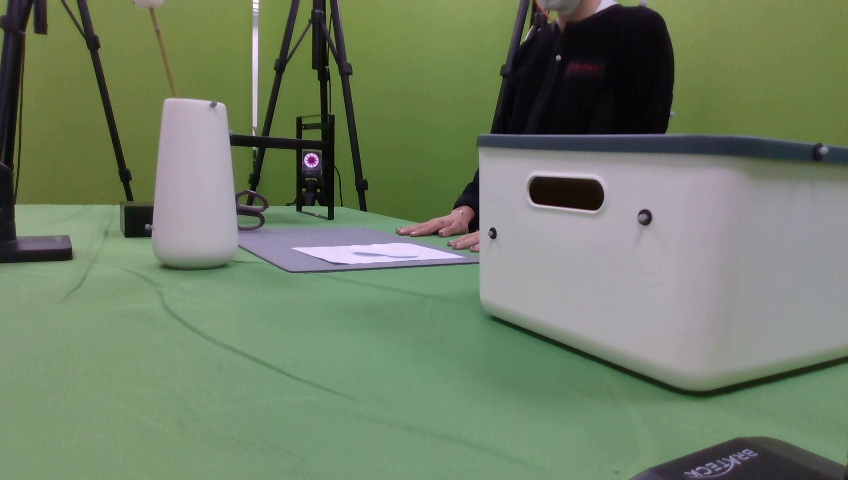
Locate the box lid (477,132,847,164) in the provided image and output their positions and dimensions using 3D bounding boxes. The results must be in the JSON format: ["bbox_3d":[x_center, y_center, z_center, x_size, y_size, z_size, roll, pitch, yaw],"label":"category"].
[{"bbox_3d":[0.257,-0.072,0.531,0.373,0.015,0.262,-1,8,-31],"label":"box lid"}]

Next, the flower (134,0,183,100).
[{"bbox_3d":[-0.282,-0.147,0.713,0.038,0.362,0.044,-23,24,-31],"label":"flower"}]

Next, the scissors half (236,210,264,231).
[{"bbox_3d":[-0.369,-0.051,1.064,0.176,0.040,0.012,19,13,-27],"label":"scissors half"}]

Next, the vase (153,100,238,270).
[{"bbox_3d":[-0.278,-0.066,0.736,0.098,0.200,0.098,2,9,0],"label":"vase"}]

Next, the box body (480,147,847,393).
[{"bbox_3d":[0.255,0.001,0.541,0.366,0.160,0.253,-2,9,-31],"label":"box body"}]

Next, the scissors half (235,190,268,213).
[{"bbox_3d":[-0.363,-0.070,1.060,0.176,0.040,0.013,0,16,-23],"label":"scissors half"}]

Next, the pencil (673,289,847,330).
[{"bbox_3d":[0.330,0.066,0.609,0.012,0.012,0.193,-1,6,-28],"label":"pencil"}]
